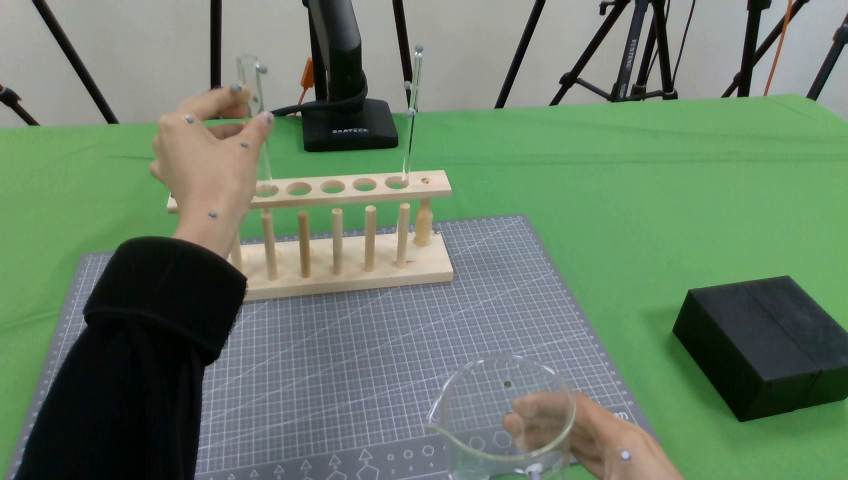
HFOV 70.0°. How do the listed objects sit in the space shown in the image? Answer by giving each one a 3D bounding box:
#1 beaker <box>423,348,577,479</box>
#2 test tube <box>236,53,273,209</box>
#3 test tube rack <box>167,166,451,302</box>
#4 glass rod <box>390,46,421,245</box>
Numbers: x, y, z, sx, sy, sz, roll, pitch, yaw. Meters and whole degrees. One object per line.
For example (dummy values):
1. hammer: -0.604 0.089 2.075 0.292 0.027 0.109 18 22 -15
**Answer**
1. beaker: 0.045 0.126 0.353 0.084 0.101 0.073 -10 33 -5
2. test tube: -0.136 -0.082 0.495 0.017 0.151 0.017 4 46 -4
3. test tube rack: -0.097 -0.008 0.551 0.243 0.086 0.066 -5 39 -10
4. glass rod: -0.018 -0.073 0.531 0.008 0.201 0.008 6 40 -4
